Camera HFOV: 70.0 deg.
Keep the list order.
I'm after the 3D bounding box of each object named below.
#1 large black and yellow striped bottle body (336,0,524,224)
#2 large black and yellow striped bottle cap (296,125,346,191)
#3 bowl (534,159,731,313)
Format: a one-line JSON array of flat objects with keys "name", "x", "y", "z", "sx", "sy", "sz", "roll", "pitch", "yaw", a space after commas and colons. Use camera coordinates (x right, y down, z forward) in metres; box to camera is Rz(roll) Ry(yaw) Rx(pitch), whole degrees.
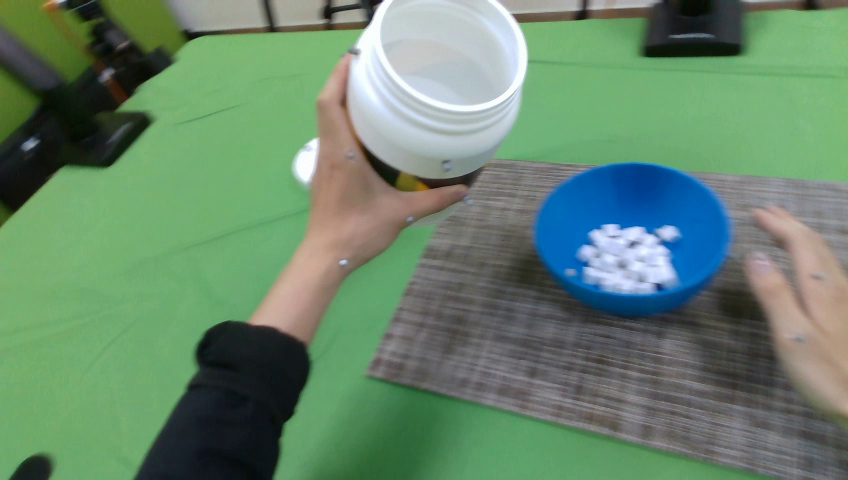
[{"name": "large black and yellow striped bottle body", "x": 0.000, "y": -0.104, "z": 0.493, "sx": 0.131, "sy": 0.184, "sz": 0.130, "roll": 5, "pitch": 68, "yaw": -11}, {"name": "large black and yellow striped bottle cap", "x": -0.104, "y": -0.106, "z": 0.759, "sx": 0.115, "sy": 0.019, "sz": 0.114, "roll": -8, "pitch": 46, "yaw": 8}, {"name": "bowl", "x": 0.173, "y": 0.010, "z": 0.515, "sx": 0.151, "sy": 0.077, "sz": 0.150, "roll": -9, "pitch": 46, "yaw": 10}]
